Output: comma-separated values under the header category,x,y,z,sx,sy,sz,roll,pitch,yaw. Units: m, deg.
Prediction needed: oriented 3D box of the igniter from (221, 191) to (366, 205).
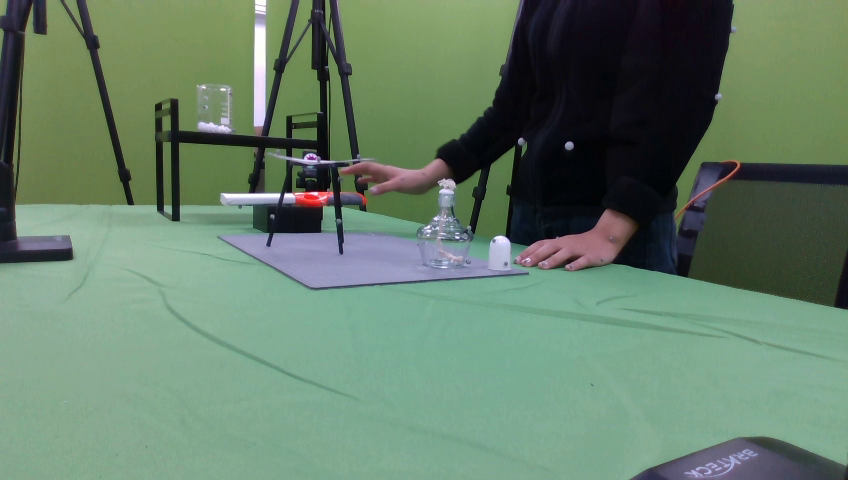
category,x,y,z,sx,sy,sz,roll,pitch,yaw
igniter,-0.240,-0.079,1.150,0.278,0.025,0.057,-3,20,-32

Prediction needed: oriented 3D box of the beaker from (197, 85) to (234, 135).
category,x,y,z,sx,sy,sz,roll,pitch,yaw
beaker,-0.444,-0.275,1.283,0.074,0.100,0.084,5,8,22

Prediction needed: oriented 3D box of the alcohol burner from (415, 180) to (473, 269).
category,x,y,z,sx,sy,sz,roll,pitch,yaw
alcohol burner,0.028,-0.021,0.807,0.078,0.119,0.078,4,5,0

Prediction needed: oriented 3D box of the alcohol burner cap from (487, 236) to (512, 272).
category,x,y,z,sx,sy,sz,roll,pitch,yaw
alcohol burner cap,0.101,0.019,0.802,0.034,0.048,0.034,2,7,0

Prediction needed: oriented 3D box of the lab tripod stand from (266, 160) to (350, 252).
category,x,y,z,sx,sy,sz,roll,pitch,yaw
lab tripod stand,-0.164,-0.054,0.915,0.148,0.131,0.148,2,9,0

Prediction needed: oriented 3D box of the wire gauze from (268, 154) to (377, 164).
category,x,y,z,sx,sy,sz,roll,pitch,yaw
wire gauze,-0.154,-0.120,0.910,0.122,0.011,0.124,-5,11,-44
